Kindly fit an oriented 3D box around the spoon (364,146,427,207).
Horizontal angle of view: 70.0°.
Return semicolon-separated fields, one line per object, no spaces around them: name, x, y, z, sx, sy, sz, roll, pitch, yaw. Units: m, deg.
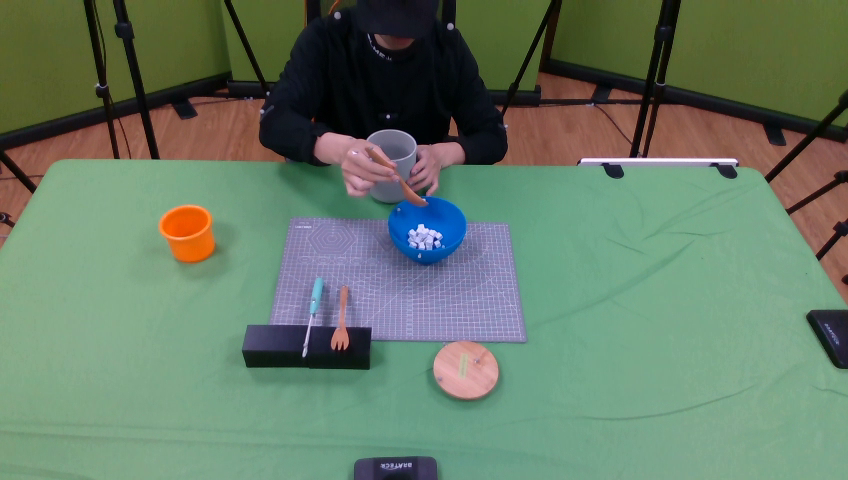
spoon;-0.050;-0.109;1.068;0.041;0.195;0.021;10;64;38

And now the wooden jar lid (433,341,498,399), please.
wooden jar lid;0.068;0.216;0.997;0.108;0.021;0.107;1;46;-1

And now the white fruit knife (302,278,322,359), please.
white fruit knife;-0.189;0.126;1.020;0.016;0.027;0.206;-1;33;-2

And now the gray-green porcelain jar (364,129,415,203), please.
gray-green porcelain jar;-0.073;-0.149;1.264;0.106;0.127;0.105;2;46;-2

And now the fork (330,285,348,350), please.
fork;-0.140;0.127;1.021;0.028;0.019;0.206;-4;28;-3

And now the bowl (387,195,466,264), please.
bowl;0.003;-0.007;1.162;0.151;0.077;0.150;2;46;-2
